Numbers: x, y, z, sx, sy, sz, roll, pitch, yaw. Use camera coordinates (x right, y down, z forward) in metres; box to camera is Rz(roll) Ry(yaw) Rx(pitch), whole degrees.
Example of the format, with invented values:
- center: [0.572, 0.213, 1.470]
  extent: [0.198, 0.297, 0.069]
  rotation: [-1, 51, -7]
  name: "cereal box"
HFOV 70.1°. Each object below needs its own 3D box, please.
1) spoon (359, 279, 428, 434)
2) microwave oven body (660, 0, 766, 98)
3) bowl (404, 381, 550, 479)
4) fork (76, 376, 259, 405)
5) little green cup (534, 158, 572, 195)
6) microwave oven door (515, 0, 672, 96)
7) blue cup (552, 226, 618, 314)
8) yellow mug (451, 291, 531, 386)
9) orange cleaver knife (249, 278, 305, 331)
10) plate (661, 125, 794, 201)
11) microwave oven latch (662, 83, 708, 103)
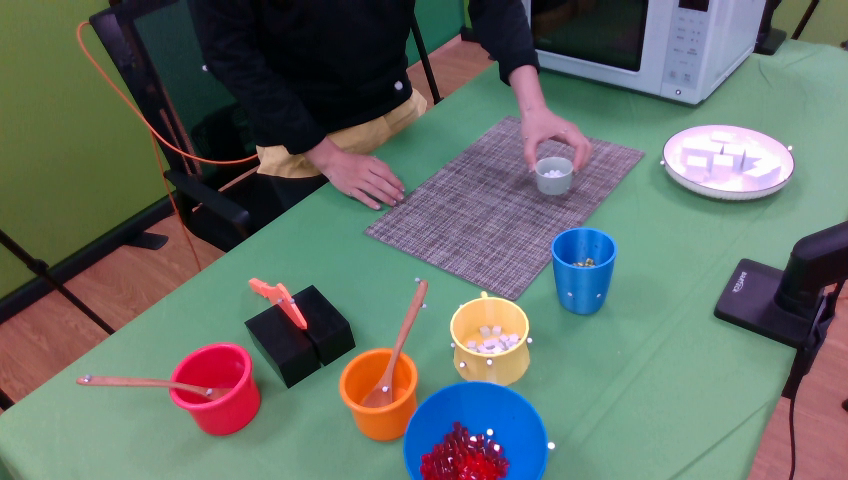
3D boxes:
- center: [-0.032, 0.138, 0.719]
  extent: [0.041, 0.193, 0.022]
  rotation: [22, 4, 29]
  name: "spoon"
- center: [0.472, -0.513, 1.317]
  extent: [0.438, 0.261, 0.327]
  rotation: [26, 51, 34]
  name: "microwave oven body"
- center: [0.058, 0.235, 0.645]
  extent: [0.151, 0.077, 0.150]
  rotation: [-4, 39, 4]
  name: "bowl"
- center: [-0.295, 0.176, 0.716]
  extent: [0.209, 0.018, 0.028]
  rotation: [19, 26, -36]
  name: "fork"
- center: [0.209, -0.102, 0.986]
  extent: [0.061, 0.039, 0.061]
  rotation: [-3, 35, 3]
  name: "little green cup"
- center: [0.343, -0.455, 1.260]
  extent: [0.353, 0.245, 0.039]
  rotation: [26, 51, 33]
  name: "microwave oven door"
- center: [0.218, 0.047, 0.825]
  extent: [0.092, 0.101, 0.092]
  rotation: [-6, 40, 5]
  name: "blue cup"
- center: [0.085, 0.120, 0.786]
  extent: [0.100, 0.064, 0.130]
  rotation: [-7, 39, 1]
  name: "yellow mug"
- center: [-0.210, 0.088, 0.856]
  extent: [0.012, 0.077, 0.210]
  rotation: [-28, 15, -25]
  name: "orange cleaver knife"
- center: [0.513, -0.128, 1.035]
  extent: [0.207, 0.039, 0.206]
  rotation: [-4, 40, 4]
  name: "plate"
- center: [0.517, -0.296, 1.204]
  extent: [0.078, 0.029, 0.030]
  rotation: [27, 52, 35]
  name: "microwave oven latch"
